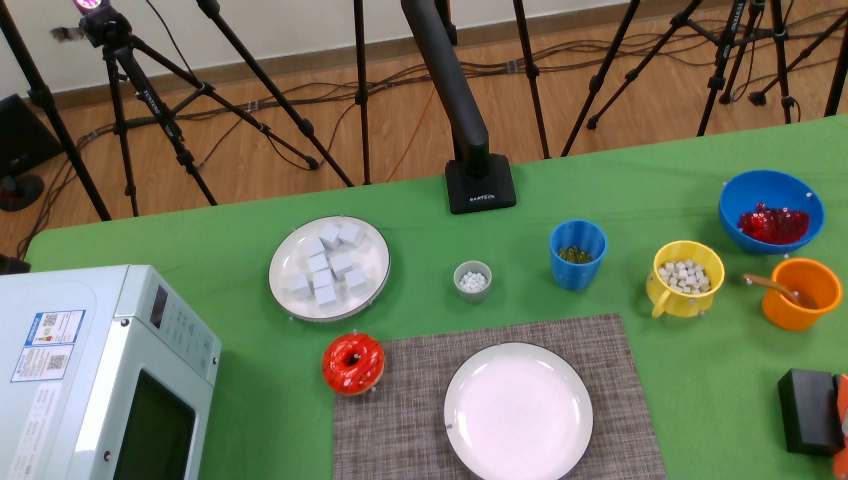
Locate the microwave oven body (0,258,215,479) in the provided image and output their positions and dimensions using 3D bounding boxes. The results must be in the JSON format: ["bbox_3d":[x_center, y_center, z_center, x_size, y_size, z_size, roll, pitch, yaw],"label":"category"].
[{"bbox_3d":[-0.493,0.280,0.776,0.326,0.262,0.437,-5,57,5],"label":"microwave oven body"}]

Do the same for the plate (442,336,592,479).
[{"bbox_3d":[0.129,0.238,0.851,0.209,0.038,0.207,-4,56,6],"label":"plate"}]

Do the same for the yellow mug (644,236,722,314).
[{"bbox_3d":[0.383,0.062,0.921,0.099,0.064,0.130,37,69,27],"label":"yellow mug"}]

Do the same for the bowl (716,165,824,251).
[{"bbox_3d":[0.534,-0.037,0.959,0.151,0.077,0.150,-4,57,6],"label":"bowl"}]

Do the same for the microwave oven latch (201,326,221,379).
[{"bbox_3d":[-0.337,0.175,0.942,0.030,0.030,0.078,-3,57,6],"label":"microwave oven latch"}]

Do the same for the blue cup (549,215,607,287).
[{"bbox_3d":[0.235,0.024,0.946,0.092,0.101,0.092,-3,57,5],"label":"blue cup"}]

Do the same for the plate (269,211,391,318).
[{"bbox_3d":[-0.156,0.043,1.027,0.207,0.039,0.205,-4,56,6],"label":"plate"}]

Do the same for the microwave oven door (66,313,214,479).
[{"bbox_3d":[-0.348,0.299,0.736,0.039,0.246,0.352,-5,56,5],"label":"microwave oven door"}]

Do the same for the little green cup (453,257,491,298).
[{"bbox_3d":[0.079,0.063,0.981,0.061,0.039,0.061,-4,55,6],"label":"little green cup"}]

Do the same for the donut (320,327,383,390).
[{"bbox_3d":[-0.110,0.180,0.921,0.099,0.049,0.098,-4,57,7],"label":"donut"}]

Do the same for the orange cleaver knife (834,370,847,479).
[{"bbox_3d":[0.525,0.270,0.752,0.012,0.077,0.211,4,87,15],"label":"orange cleaver knife"}]

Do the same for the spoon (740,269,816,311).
[{"bbox_3d":[0.499,0.065,0.852,0.021,0.195,0.041,-39,44,37],"label":"spoon"}]
